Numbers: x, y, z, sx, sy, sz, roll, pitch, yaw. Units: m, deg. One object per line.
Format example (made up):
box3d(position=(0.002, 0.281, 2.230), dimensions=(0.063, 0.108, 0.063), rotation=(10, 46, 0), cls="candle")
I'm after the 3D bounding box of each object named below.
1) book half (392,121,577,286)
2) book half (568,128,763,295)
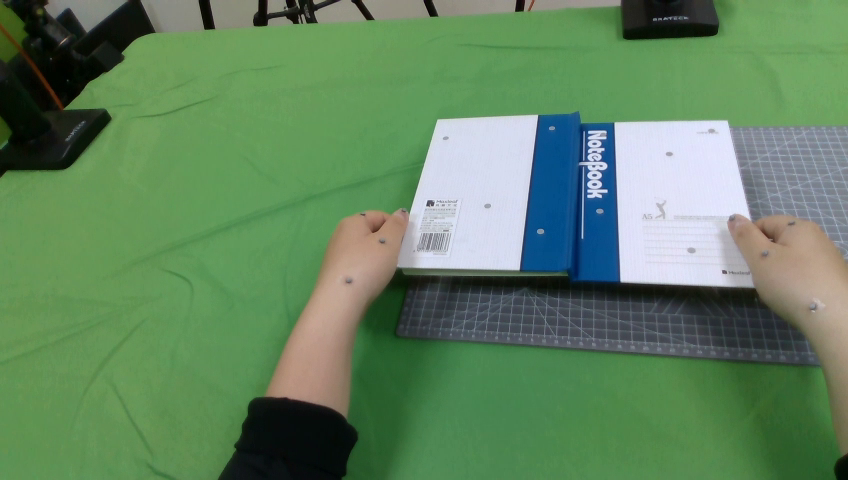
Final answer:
box3d(position=(0.064, -0.043, 0.564), dimensions=(0.148, 0.016, 0.208), rotation=(1, 47, 15), cls="book half")
box3d(position=(0.204, -0.035, 0.536), dimensions=(0.143, 0.007, 0.208), rotation=(2, 46, 13), cls="book half")
